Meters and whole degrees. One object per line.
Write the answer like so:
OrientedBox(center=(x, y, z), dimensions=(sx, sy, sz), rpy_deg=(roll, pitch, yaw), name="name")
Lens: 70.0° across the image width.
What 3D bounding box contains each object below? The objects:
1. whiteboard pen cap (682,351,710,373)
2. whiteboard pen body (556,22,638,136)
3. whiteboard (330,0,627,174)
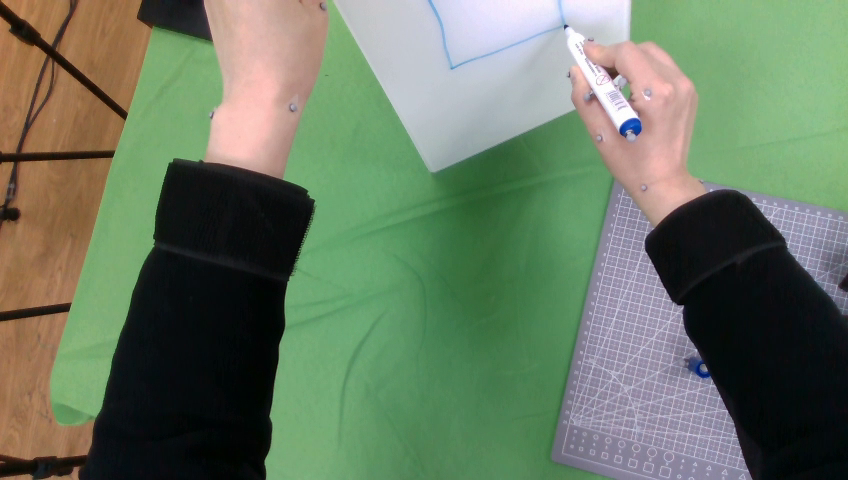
OrientedBox(center=(0.255, 0.114, 0.572), dimensions=(0.018, 0.033, 0.018), rpy_deg=(0, 89, 7), name="whiteboard pen cap")
OrientedBox(center=(0.125, -0.127, 0.455), dimensions=(0.017, 0.017, 0.139), rpy_deg=(-21, 51, 7), name="whiteboard pen body")
OrientedBox(center=(0.041, -0.225, 0.511), dimensions=(0.217, 0.308, 0.142), rpy_deg=(-23, 65, 7), name="whiteboard")
